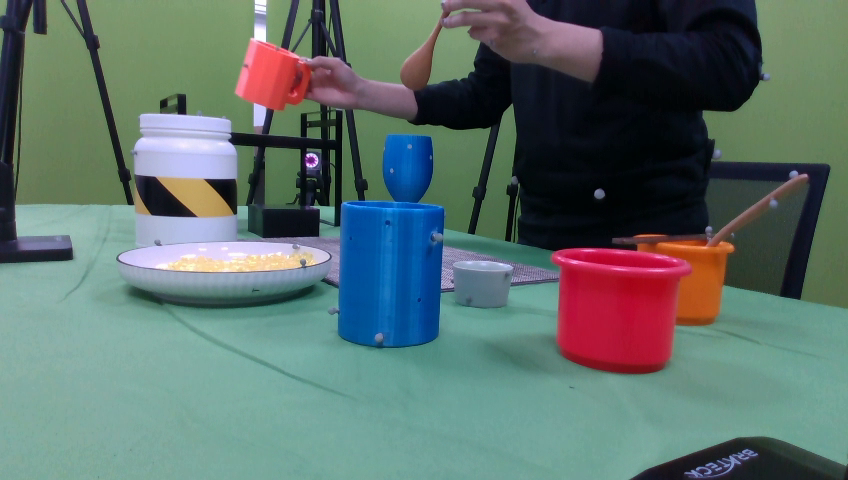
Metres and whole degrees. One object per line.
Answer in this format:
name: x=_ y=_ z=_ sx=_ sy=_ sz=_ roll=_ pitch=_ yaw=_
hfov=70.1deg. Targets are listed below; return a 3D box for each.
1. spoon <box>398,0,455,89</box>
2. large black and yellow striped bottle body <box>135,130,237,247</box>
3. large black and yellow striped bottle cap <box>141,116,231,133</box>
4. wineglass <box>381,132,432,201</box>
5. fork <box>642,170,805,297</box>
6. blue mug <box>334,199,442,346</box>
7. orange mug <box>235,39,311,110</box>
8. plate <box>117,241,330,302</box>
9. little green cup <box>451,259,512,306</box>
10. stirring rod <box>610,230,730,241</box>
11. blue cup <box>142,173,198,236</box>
spoon: x=0.016 y=-0.278 z=0.778 sx=0.041 sy=0.193 sz=0.021 roll=31 pitch=31 yaw=-2
large black and yellow striped bottle body: x=-0.327 y=-0.074 z=0.838 sx=0.131 sy=0.184 sz=0.130 roll=2 pitch=7 yaw=0
large black and yellow striped bottle cap: x=-0.324 y=-0.157 z=0.826 sx=0.115 sy=0.019 sz=0.115 roll=1 pitch=7 yaw=0
wineglass: x=-0.026 y=-0.062 z=0.841 sx=0.074 sy=0.172 sz=0.073 roll=2 pitch=7 yaw=0
fork: x=0.261 y=0.004 z=0.545 sx=0.028 sy=0.018 sz=0.207 roll=5 pitch=-37 yaw=-15
blue mug: x=-0.034 y=0.020 z=0.498 sx=0.083 sy=0.106 sz=0.116 roll=0 pitch=7 yaw=-19
orange mug: x=-0.260 y=-0.286 z=1.063 sx=0.083 sy=0.100 sz=0.127 roll=35 pitch=24 yaw=35
plate: x=-0.203 y=0.031 z=0.630 sx=0.209 sy=0.038 sz=0.209 roll=3 pitch=7 yaw=0
little green cup: x=0.057 y=0.043 z=0.612 sx=0.061 sy=0.038 sz=0.061 roll=3 pitch=8 yaw=0
stirring rod: x=0.241 y=-0.005 z=0.582 sx=0.177 sy=0.006 sz=0.014 roll=-3 pitch=9 yaw=-34
blue cup: x=-0.425 y=-0.060 z=1.014 sx=0.093 sy=0.100 sz=0.092 roll=4 pitch=9 yaw=0
